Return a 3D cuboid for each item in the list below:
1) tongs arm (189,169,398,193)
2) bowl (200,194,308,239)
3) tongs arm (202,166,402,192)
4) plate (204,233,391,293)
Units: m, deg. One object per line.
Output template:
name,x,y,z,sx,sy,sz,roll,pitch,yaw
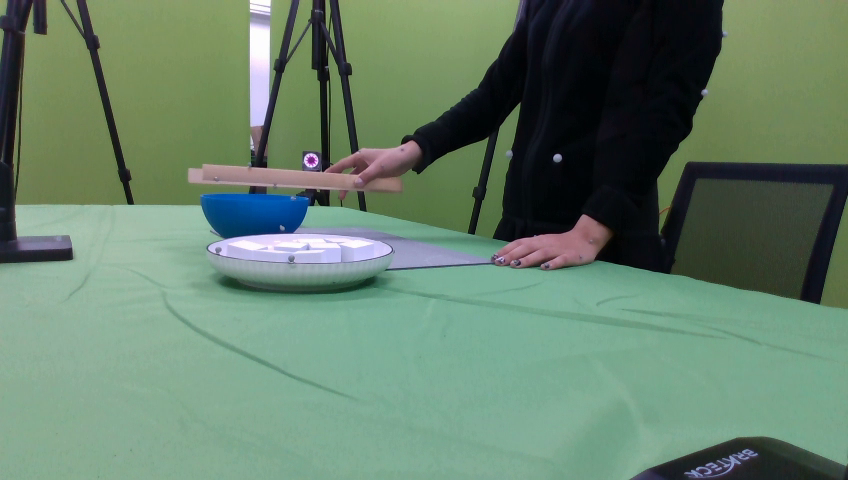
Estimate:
tongs arm,-0.225,-0.107,1.109,0.390,0.027,0.028,0,-3,-30
bowl,-0.245,-0.025,0.879,0.151,0.077,0.151,2,7,0
tongs arm,-0.197,-0.105,1.067,0.387,0.026,0.050,0,1,-33
plate,-0.143,0.025,0.697,0.208,0.039,0.207,3,9,0
